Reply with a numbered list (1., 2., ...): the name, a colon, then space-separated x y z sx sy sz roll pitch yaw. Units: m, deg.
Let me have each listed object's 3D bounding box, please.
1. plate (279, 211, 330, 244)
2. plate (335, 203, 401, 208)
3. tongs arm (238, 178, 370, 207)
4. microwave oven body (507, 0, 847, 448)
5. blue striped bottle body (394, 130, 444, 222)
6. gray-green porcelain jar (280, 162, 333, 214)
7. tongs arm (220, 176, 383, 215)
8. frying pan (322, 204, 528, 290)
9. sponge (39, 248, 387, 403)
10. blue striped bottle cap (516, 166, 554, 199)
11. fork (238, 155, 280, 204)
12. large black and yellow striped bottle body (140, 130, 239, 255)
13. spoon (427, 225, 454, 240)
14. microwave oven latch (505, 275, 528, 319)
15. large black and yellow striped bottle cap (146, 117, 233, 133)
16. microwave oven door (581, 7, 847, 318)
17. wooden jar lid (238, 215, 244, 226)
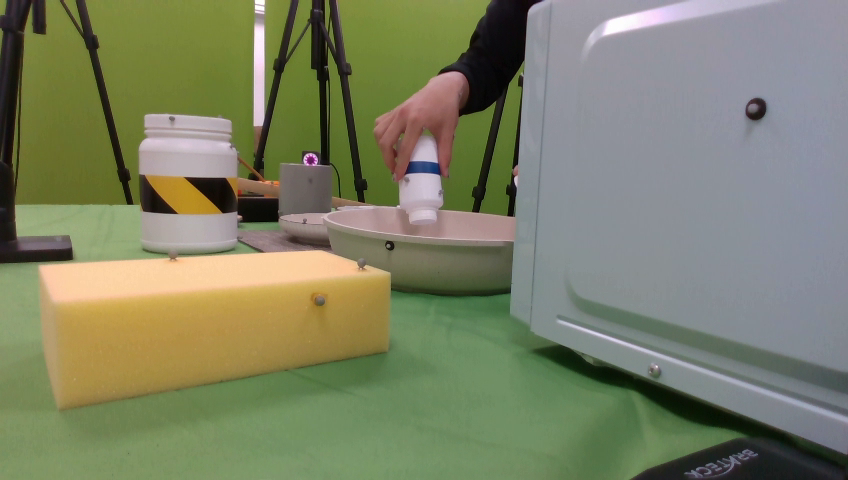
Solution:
1. plate: -0.139 -0.022 1.021 0.209 0.038 0.209 2 8 0
2. plate: -0.089 -0.053 1.309 0.208 0.039 0.207 2 8 0
3. tongs arm: -0.241 -0.095 1.374 0.387 0.026 0.050 9 0 -37
4. microwave oven body: 0.331 -0.042 0.425 0.444 0.260 0.324 -2 8 -31
5. blue striped bottle body: -0.006 -0.087 0.850 0.063 0.120 0.063 -6 -10 -1
6. gray-green porcelain jar: -0.238 -0.092 1.221 0.106 0.126 0.106 2 7 0
7. tongs arm: -0.285 -0.104 1.445 0.389 0.027 0.028 10 -4 -23
8. frying pan: 0.109 -0.017 0.800 0.490 0.102 0.305 -12 16 -30
9. sponge: -0.142 0.047 0.420 0.208 0.061 0.117 -3 8 -37
10. blue striped bottle cap: 0.139 -0.072 0.753 0.045 0.020 0.044 17 35 -12
11. fork: -0.396 -0.143 1.486 0.028 0.018 0.208 19 -26 45
12. large black and yellow striped bottle body: -0.336 -0.078 0.871 0.131 0.184 0.130 2 8 0
13. spoon: 0.024 -0.019 1.124 0.042 0.021 0.193 -16 9 -4
14. microwave oven latch: 0.100 0.042 0.471 0.079 0.029 0.030 -1 7 -29
15. large black and yellow striped bottle cap: -0.333 -0.163 0.860 0.115 0.019 0.115 1 9 0
16. microwave oven door: 0.295 -0.067 0.569 0.358 0.243 0.039 -3 8 -31
17. wooden jar lid: -0.404 -0.037 1.169 0.108 0.020 0.108 3 7 0
